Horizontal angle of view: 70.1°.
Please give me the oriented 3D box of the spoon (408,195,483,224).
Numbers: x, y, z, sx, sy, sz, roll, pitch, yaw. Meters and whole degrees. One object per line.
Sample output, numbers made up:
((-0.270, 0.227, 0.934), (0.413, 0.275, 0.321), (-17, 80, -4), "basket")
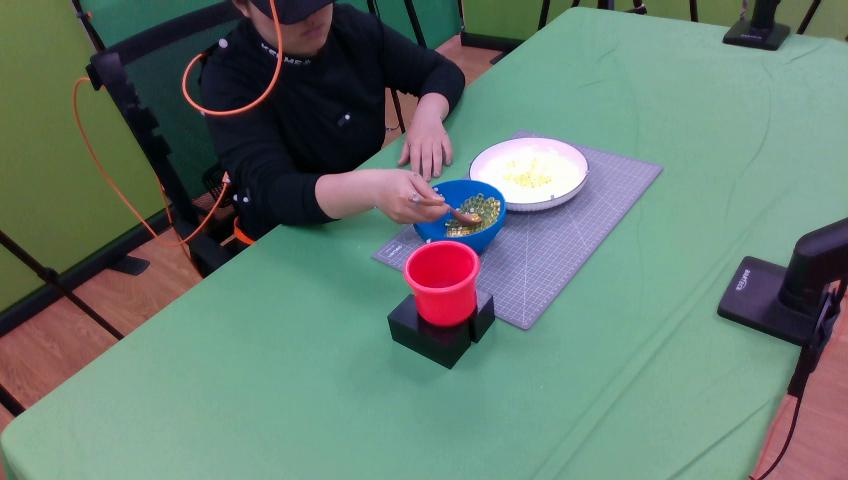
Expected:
((0.032, -0.047, 0.887), (0.041, 0.195, 0.021), (23, 93, 33), "spoon")

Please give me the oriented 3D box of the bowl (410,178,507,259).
((0.057, -0.023, 0.951), (0.151, 0.077, 0.150), (-5, 40, 5), "bowl")

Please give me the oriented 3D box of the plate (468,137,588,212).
((0.182, -0.112, 1.064), (0.207, 0.039, 0.206), (-5, 40, 5), "plate")
